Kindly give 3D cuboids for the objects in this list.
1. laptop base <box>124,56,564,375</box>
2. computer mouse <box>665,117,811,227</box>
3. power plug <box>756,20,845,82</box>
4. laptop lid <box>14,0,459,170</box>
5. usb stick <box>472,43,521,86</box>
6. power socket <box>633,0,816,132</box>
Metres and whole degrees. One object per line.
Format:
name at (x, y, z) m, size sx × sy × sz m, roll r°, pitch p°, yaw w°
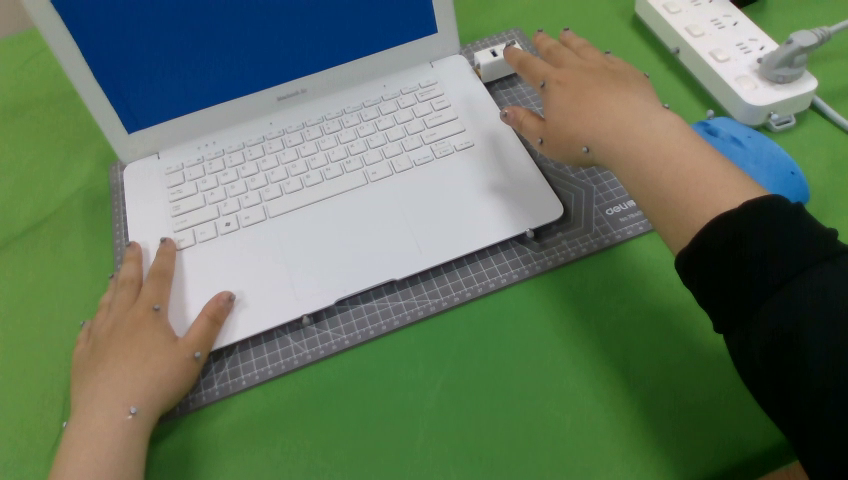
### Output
laptop base at (-0.085, -0.040, 0.543) m, size 0.354 × 0.023 × 0.233 m, roll -21°, pitch 57°, yaw -7°
computer mouse at (0.253, -0.063, 0.493) m, size 0.063 × 0.041 × 0.116 m, roll -21°, pitch 48°, yaw -5°
power plug at (0.329, -0.156, 0.528) m, size 0.072 × 0.053 × 0.035 m, roll -9°, pitch 55°, yaw 2°
laptop lid at (-0.150, -0.212, 0.535) m, size 0.357 × 0.244 × 0.013 m, roll -22°, pitch 41°, yaw -6°
usb stick at (0.066, -0.172, 0.601) m, size 0.059 × 0.027 × 0.021 m, roll -21°, pitch 53°, yaw -3°
power socket at (0.282, -0.190, 0.586) m, size 0.072 × 0.033 × 0.224 m, roll -18°, pitch 53°, yaw -4°
